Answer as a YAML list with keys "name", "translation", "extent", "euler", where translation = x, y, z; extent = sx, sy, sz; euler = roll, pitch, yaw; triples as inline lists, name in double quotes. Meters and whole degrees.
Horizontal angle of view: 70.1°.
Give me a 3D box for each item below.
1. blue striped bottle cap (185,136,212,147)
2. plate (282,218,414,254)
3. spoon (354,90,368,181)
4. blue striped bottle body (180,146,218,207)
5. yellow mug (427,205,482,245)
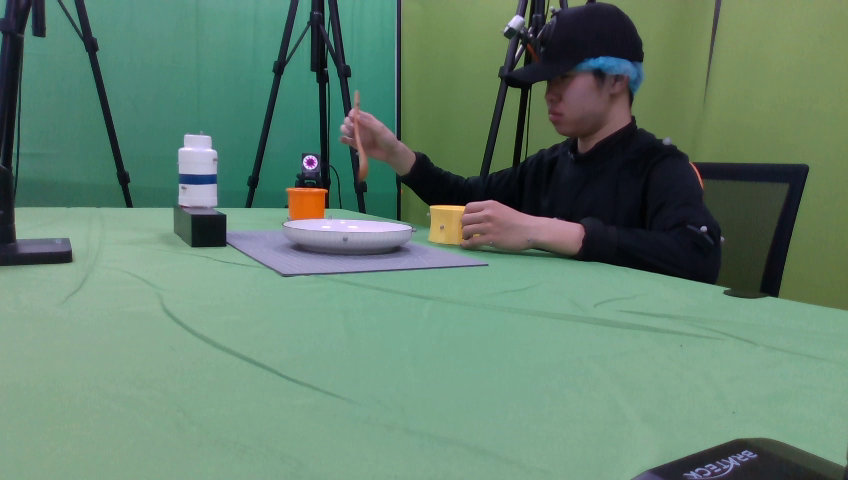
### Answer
- name: "blue striped bottle cap"
  translation: [-0.390, -0.169, 1.047]
  extent: [0.044, 0.020, 0.044]
  euler: [4, 10, 0]
- name: "plate"
  translation: [-0.121, -0.007, 0.971]
  extent: [0.208, 0.039, 0.207]
  euler: [2, 7, 0]
- name: "spoon"
  translation: [-0.133, -0.216, 1.238]
  extent: [0.021, 0.193, 0.042]
  euler: [-9, -10, 7]
- name: "blue striped bottle body"
  translation: [-0.392, -0.119, 1.053]
  extent: [0.063, 0.120, 0.063]
  euler: [2, 8, 0]
- name: "yellow mug"
  translation: [0.062, -0.028, 1.111]
  extent: [0.100, 0.064, 0.130]
  euler: [0, 8, -20]
